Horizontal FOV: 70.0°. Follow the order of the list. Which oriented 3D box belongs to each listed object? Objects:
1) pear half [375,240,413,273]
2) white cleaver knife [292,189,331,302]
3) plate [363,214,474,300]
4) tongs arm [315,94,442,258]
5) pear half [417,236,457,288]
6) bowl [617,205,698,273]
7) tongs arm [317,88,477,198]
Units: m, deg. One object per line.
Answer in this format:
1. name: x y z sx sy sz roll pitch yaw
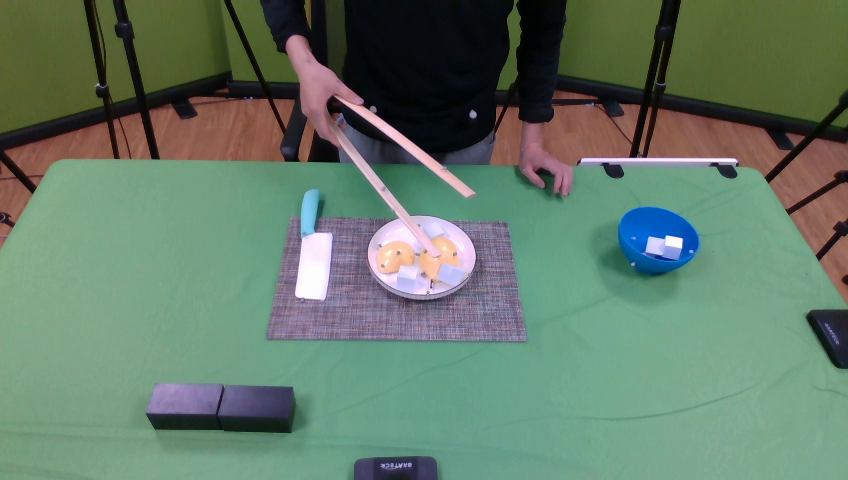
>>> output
1. pear half: -0.059 0.026 1.145 0.070 0.031 0.088 23 43 21
2. white cleaver knife: -0.215 0.006 1.178 0.066 0.021 0.284 5 49 -12
3. plate: -0.010 0.036 1.146 0.208 0.039 0.206 3 46 -2
4. tongs arm: -0.085 -0.122 1.095 0.026 0.051 0.383 -21 63 -44
5. pear half: 0.022 0.039 1.127 0.076 0.056 0.109 5 50 7
6. bowl: 0.444 0.011 1.182 0.151 0.077 0.150 2 46 -2
7. tongs arm: -0.056 -0.177 1.049 0.385 0.028 0.028 39 42 27
